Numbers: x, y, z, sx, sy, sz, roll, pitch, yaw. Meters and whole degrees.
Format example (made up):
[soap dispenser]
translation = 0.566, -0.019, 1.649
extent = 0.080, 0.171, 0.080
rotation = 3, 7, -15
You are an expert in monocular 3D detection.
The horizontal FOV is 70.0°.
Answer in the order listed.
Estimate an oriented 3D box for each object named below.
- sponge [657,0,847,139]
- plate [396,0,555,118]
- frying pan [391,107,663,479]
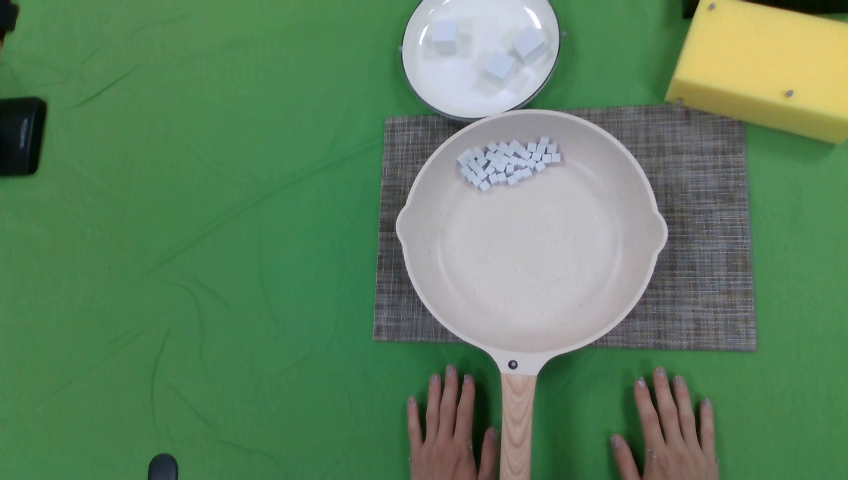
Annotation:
[sponge]
translation = 0.402, -0.208, 0.719
extent = 0.206, 0.061, 0.118
rotation = 17, 79, 13
[plate]
translation = 0.068, -0.256, 0.802
extent = 0.207, 0.039, 0.206
rotation = -2, 79, 10
[frying pan]
translation = 0.106, 0.087, 0.688
extent = 0.306, 0.103, 0.485
rotation = 2, 71, 12
